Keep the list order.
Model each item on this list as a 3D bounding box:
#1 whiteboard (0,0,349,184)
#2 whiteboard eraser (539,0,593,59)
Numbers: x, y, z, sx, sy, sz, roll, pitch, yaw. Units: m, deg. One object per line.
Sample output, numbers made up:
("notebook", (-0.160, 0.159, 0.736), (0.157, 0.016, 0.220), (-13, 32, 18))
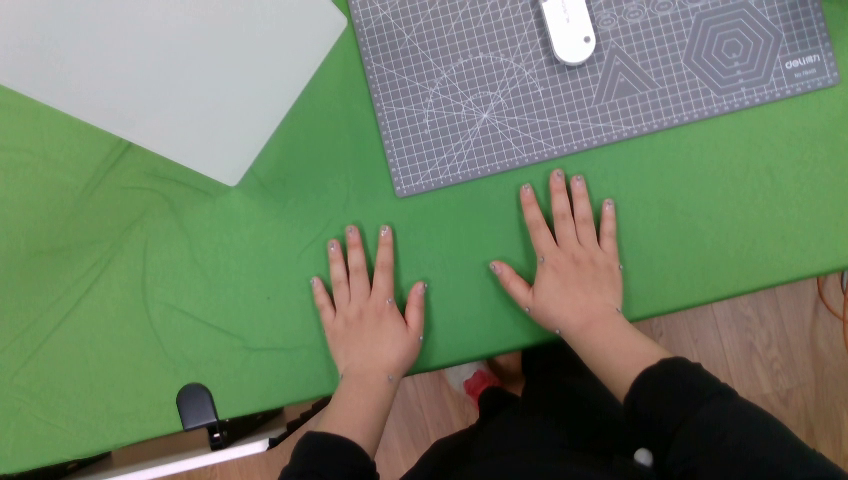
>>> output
("whiteboard", (-0.247, -0.216, 0.536), (0.142, 0.308, 0.217), (38, 95, 25))
("whiteboard eraser", (0.139, -0.232, 0.603), (0.041, 0.019, 0.101), (-15, 90, 5))
